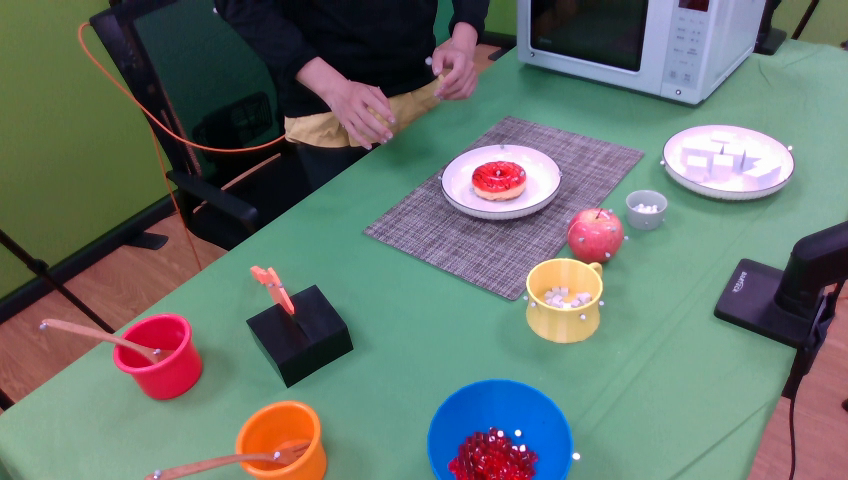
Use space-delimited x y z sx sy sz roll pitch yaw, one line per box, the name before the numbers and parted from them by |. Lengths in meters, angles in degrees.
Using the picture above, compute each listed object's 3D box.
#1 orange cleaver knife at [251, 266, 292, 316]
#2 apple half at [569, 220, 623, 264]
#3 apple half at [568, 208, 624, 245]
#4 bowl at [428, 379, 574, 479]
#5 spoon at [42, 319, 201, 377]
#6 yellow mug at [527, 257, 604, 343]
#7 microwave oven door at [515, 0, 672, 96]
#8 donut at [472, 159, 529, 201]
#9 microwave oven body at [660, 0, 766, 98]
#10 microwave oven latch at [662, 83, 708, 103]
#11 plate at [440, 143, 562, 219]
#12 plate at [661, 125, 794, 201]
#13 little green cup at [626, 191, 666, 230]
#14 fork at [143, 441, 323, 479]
orange cleaver knife | -0.221 0.071 0.873 0.012 0.077 0.210 -25 11 -21
apple half | 0.251 0.010 0.884 0.081 0.081 0.032 3 37 12
apple half | 0.259 -0.014 0.914 0.080 0.075 0.053 0 36 15
bowl | 0.082 0.233 0.644 0.151 0.077 0.150 -4 39 4
spoon | -0.385 0.135 0.779 0.195 0.021 0.041 28 36 -26
yellow mug | 0.201 0.072 0.825 0.131 0.064 0.099 -32 46 -27
microwave oven door | 0.344 -0.455 1.259 0.353 0.245 0.039 26 51 33
donut | 0.132 -0.105 1.043 0.099 0.048 0.098 -5 38 4
microwave oven body | 0.472 -0.513 1.317 0.438 0.261 0.327 26 51 34
microwave oven latch | 0.517 -0.296 1.204 0.078 0.029 0.030 27 52 35
plate | 0.134 -0.098 1.052 0.209 0.038 0.208 -4 40 4
plate | 0.513 -0.128 1.035 0.207 0.039 0.206 -4 40 4
little green cup | 0.352 -0.046 0.963 0.061 0.039 0.061 -4 40 4
fork | -0.189 0.231 0.631 0.028 0.018 0.209 35 13 37
